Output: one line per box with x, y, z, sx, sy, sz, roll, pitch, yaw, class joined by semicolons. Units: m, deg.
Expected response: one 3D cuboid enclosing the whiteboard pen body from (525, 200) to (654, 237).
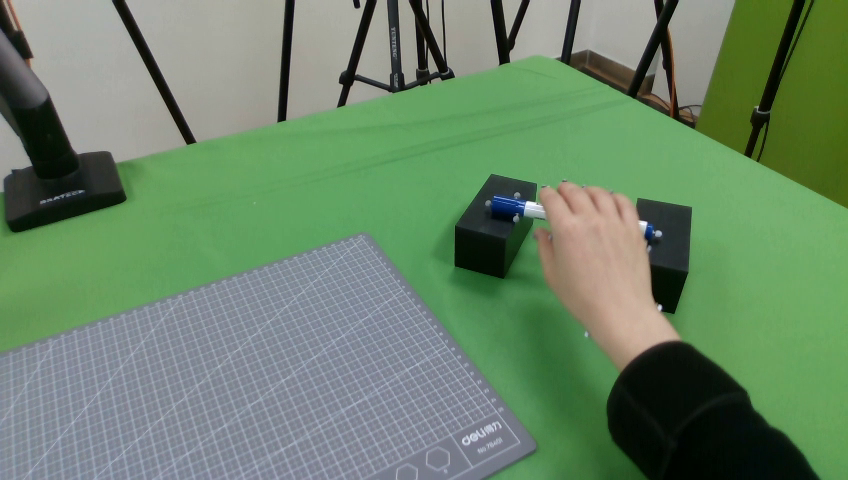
0.137;-0.022;0.554;0.140;0.017;0.017;11;40;16;whiteboard pen body

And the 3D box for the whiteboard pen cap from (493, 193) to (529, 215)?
0.083;-0.033;0.570;0.033;0.018;0.018;13;40;15;whiteboard pen cap
